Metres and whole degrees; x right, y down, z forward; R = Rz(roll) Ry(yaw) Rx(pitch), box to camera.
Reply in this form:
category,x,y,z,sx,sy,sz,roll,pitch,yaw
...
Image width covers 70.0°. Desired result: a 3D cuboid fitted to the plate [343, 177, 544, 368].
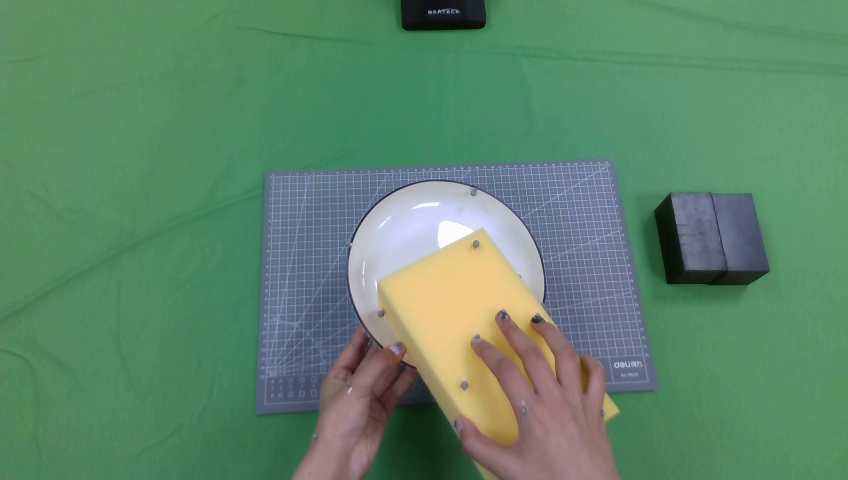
category,x,y,z,sx,sy,sz,roll,pitch,yaw
plate,0.020,0.036,0.625,0.210,0.038,0.207,5,70,-12

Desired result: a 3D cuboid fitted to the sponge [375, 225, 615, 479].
category,x,y,z,sx,sy,sz,roll,pitch,yaw
sponge,0.057,0.100,0.554,0.118,0.061,0.205,-28,67,-18
